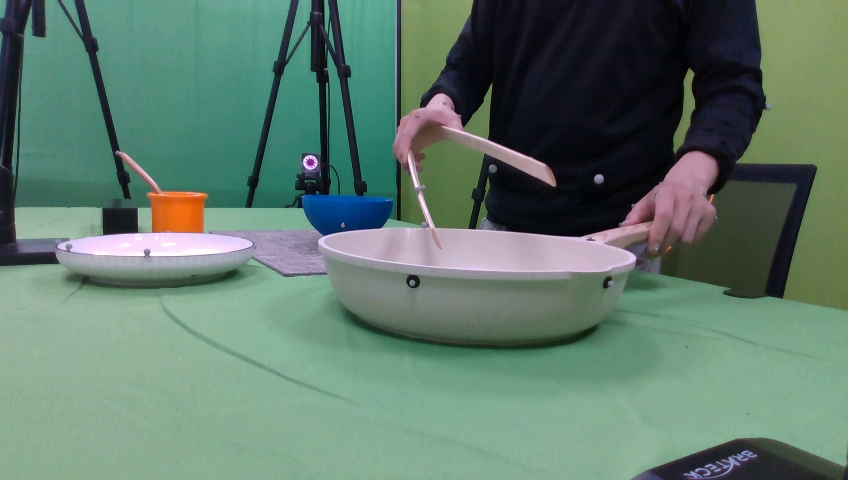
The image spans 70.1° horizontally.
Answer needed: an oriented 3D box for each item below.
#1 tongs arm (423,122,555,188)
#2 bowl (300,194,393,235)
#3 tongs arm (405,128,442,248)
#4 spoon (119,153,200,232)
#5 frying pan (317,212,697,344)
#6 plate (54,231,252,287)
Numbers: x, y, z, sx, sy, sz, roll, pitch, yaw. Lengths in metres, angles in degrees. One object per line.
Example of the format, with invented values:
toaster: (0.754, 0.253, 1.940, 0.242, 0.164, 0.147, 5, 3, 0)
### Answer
tongs arm: (0.067, -0.114, 0.757, 0.028, 0.028, 0.386, -35, 23, -4)
bowl: (-0.128, -0.034, 0.996, 0.151, 0.077, 0.151, 2, 7, 0)
tongs arm: (0.006, -0.082, 0.757, 0.051, 0.026, 0.383, -29, 22, 4)
spoon: (-0.439, -0.077, 1.001, 0.021, 0.193, 0.042, -43, -6, 22)
frying pan: (0.133, 0.013, 0.629, 0.490, 0.102, 0.305, -12, 14, -31)
plate: (-0.309, 0.020, 0.705, 0.208, 0.039, 0.207, 3, 7, 0)
